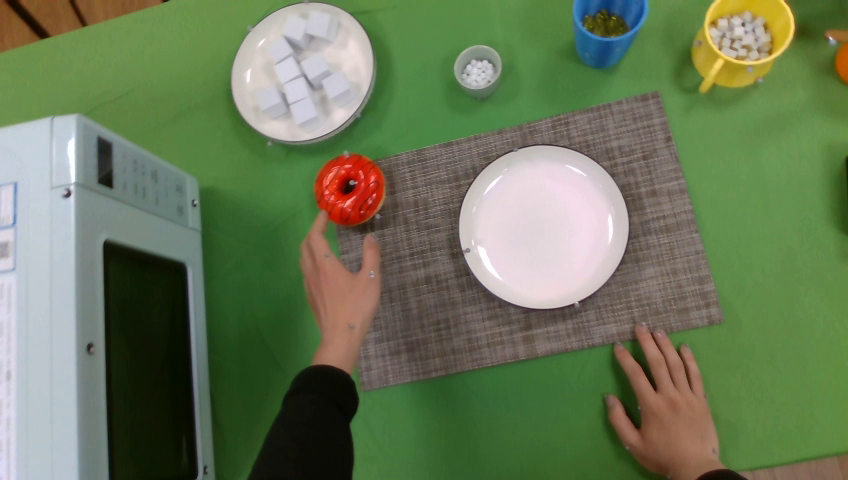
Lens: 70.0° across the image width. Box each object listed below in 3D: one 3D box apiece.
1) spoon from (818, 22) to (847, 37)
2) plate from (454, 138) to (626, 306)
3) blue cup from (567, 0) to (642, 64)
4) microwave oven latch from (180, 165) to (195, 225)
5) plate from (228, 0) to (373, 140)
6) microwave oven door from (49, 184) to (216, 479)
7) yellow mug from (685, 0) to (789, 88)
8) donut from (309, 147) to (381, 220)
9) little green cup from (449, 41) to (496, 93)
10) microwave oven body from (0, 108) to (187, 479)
[{"bbox_3d":[0.487,-0.226,0.674,0.021,0.195,0.041,-29,70,50],"label":"spoon"},{"bbox_3d":[0.142,-0.022,0.752,0.209,0.038,0.208,-2,80,10],"label":"plate"},{"bbox_3d":[0.218,-0.268,0.752,0.092,0.100,0.092,-1,81,9],"label":"blue cup"},{"bbox_3d":[-0.331,-0.060,0.825,0.030,0.029,0.079,-7,80,8],"label":"microwave oven latch"},{"bbox_3d":[-0.170,-0.236,0.846,0.207,0.039,0.207,-2,80,10],"label":"plate"},{"bbox_3d":[-0.322,0.136,0.686,0.039,0.245,0.354,-10,78,8],"label":"microwave oven door"},{"bbox_3d":[0.370,-0.241,0.739,0.099,0.064,0.131,36,89,13],"label":"yellow mug"},{"bbox_3d":[-0.105,-0.074,0.800,0.099,0.048,0.098,-2,81,11],"label":"donut"},{"bbox_3d":[0.067,-0.228,0.804,0.061,0.039,0.061,-2,79,10],"label":"little green cup"},{"bbox_3d":[-0.468,0.119,0.719,0.326,0.261,0.439,-9,79,8],"label":"microwave oven body"}]
